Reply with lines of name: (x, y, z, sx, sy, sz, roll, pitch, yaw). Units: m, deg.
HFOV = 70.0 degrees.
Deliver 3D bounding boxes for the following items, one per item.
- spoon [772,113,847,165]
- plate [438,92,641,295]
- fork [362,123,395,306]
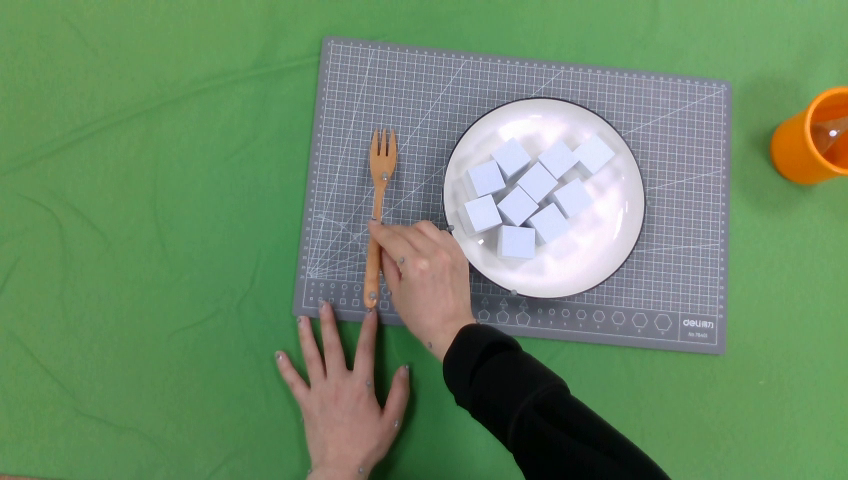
spoon: (0.448, -0.133, 0.602, 0.022, 0.193, 0.041, -14, 75, -49)
plate: (0.116, -0.047, 0.624, 0.208, 0.039, 0.207, 0, 83, -3)
fork: (-0.047, -0.031, 0.594, 0.028, 0.019, 0.205, 4, 59, -3)
